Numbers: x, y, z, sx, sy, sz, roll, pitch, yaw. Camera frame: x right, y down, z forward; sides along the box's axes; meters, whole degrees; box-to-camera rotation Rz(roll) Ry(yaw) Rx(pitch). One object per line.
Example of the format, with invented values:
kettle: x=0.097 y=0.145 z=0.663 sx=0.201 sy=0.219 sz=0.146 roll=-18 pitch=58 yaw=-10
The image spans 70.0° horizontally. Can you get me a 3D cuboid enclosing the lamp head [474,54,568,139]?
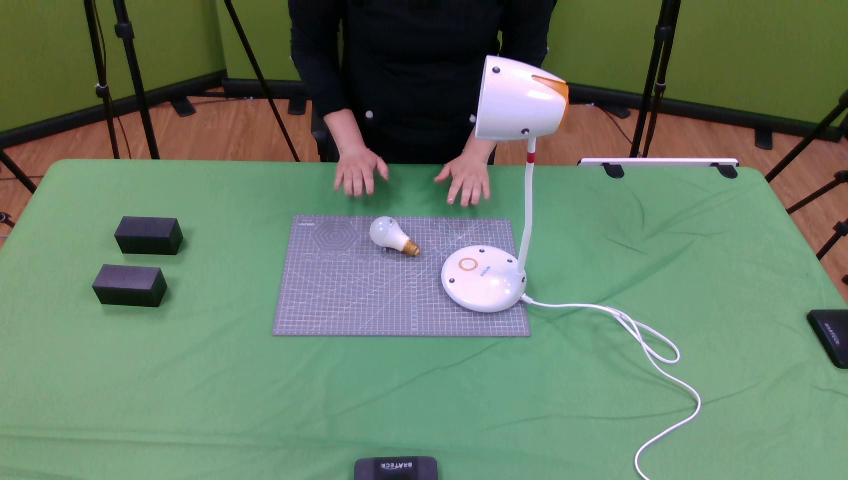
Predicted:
lamp head: x=0.130 y=-0.184 z=0.817 sx=0.123 sy=0.113 sz=0.112 roll=10 pitch=45 yaw=-3

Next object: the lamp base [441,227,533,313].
lamp base: x=0.126 y=0.021 z=1.072 sx=0.179 sy=0.181 sz=0.160 roll=23 pitch=49 yaw=14

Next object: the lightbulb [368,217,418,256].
lightbulb: x=-0.058 y=-0.002 z=1.173 sx=0.107 sy=0.060 sz=0.059 roll=32 pitch=50 yaw=5
